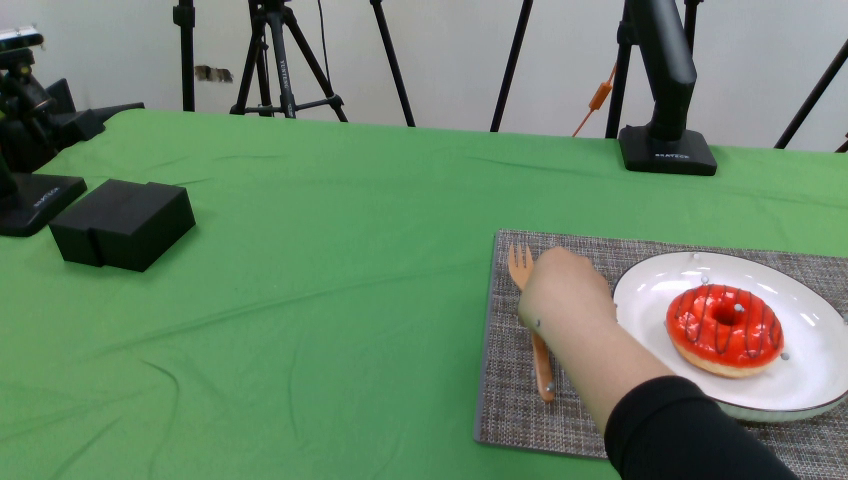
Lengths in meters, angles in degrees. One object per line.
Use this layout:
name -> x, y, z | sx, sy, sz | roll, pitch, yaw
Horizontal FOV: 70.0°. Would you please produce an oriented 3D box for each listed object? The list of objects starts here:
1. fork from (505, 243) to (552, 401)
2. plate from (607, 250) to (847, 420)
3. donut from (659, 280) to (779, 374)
fork -> 0.099, 0.068, 0.573 | 0.028, 0.019, 0.205 | 9, 34, -6
plate -> 0.272, 0.084, 0.553 | 0.209, 0.038, 0.207 | 0, 35, 0
donut -> 0.263, 0.077, 0.543 | 0.099, 0.048, 0.098 | -1, 38, 1
